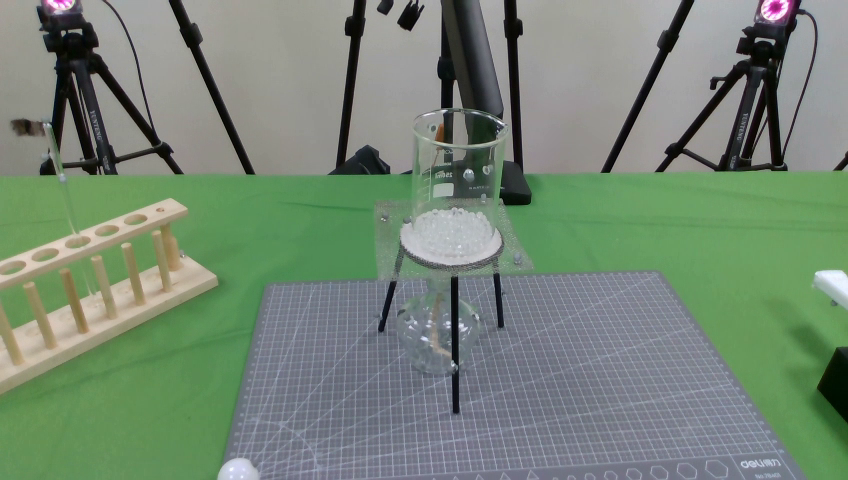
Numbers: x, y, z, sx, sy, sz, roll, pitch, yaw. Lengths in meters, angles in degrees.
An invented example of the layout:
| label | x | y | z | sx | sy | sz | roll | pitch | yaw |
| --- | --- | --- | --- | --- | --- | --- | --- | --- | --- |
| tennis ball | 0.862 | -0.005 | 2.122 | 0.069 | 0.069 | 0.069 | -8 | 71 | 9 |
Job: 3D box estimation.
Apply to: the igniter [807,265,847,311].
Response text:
| label | x | y | z | sx | sy | sz | roll | pitch | yaw |
| --- | --- | --- | --- | --- | --- | --- | --- | --- | --- |
| igniter | 0.421 | 0.099 | 0.500 | 0.057 | 0.025 | 0.274 | -3 | 29 | -6 |

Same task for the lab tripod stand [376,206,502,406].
| label | x | y | z | sx | sy | sz | roll | pitch | yaw |
| --- | --- | --- | --- | --- | --- | --- | --- | --- | --- |
| lab tripod stand | 0.021 | 0.050 | 0.541 | 0.148 | 0.132 | 0.147 | 3 | 34 | -1 |

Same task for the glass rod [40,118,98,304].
| label | x | y | z | sx | sy | sz | roll | pitch | yaw |
| --- | --- | --- | --- | --- | --- | --- | --- | --- | --- |
| glass rod | -0.323 | -0.017 | 0.554 | 0.008 | 0.201 | 0.008 | 5 | 35 | -3 |

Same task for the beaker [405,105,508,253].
| label | x | y | z | sx | sy | sz | roll | pitch | yaw |
| --- | --- | --- | --- | --- | --- | --- | --- | --- | --- |
| beaker | 0.025 | -0.047 | 0.480 | 0.084 | 0.101 | 0.073 | -14 | 38 | -24 |

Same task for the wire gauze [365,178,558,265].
| label | x | y | z | sx | sy | sz | roll | pitch | yaw |
| --- | --- | --- | --- | --- | --- | --- | --- | --- | --- |
| wire gauze | 0.027 | -0.017 | 0.494 | 0.125 | 0.011 | 0.120 | -10 | 32 | -25 |

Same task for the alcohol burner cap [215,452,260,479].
| label | x | y | z | sx | sy | sz | roll | pitch | yaw |
| --- | --- | --- | --- | --- | --- | --- | --- | --- | --- |
| alcohol burner cap | -0.132 | 0.171 | 0.429 | 0.034 | 0.048 | 0.033 | 3 | 33 | -2 |

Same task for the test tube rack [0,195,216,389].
| label | x | y | z | sx | sy | sz | roll | pitch | yaw |
| --- | --- | --- | --- | --- | --- | --- | --- | --- | --- |
| test tube rack | -0.330 | 0.045 | 0.579 | 0.066 | 0.086 | 0.242 | 26 | 40 | 33 |

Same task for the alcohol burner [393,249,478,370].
| label | x | y | z | sx | sy | sz | roll | pitch | yaw |
| --- | --- | --- | --- | --- | --- | --- | --- | --- | --- |
| alcohol burner | 0.011 | 0.058 | 0.545 | 0.078 | 0.120 | 0.077 | 3 | 32 | -1 |
